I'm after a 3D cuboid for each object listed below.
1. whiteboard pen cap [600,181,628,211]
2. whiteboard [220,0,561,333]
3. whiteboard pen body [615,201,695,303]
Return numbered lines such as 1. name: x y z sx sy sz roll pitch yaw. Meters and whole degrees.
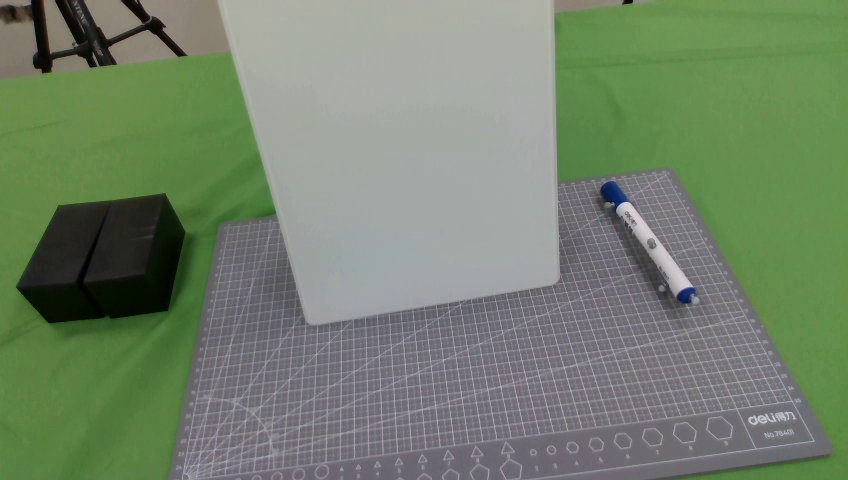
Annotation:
1. whiteboard pen cap: 0.178 -0.039 0.566 0.018 0.018 0.033 -12 45 -6
2. whiteboard: -0.016 -0.106 0.493 0.217 0.308 0.142 -9 27 -2
3. whiteboard pen body: 0.192 -0.001 0.525 0.017 0.017 0.139 -13 45 -6
